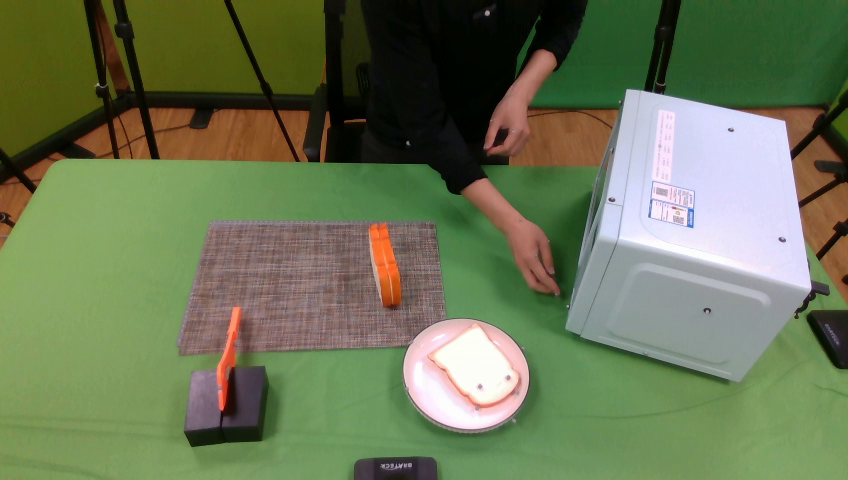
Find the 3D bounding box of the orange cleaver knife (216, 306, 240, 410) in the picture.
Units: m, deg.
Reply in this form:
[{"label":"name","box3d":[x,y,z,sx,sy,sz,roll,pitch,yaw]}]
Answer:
[{"label":"orange cleaver knife","box3d":[-0.307,0.180,0.957,0.012,0.077,0.210,-2,25,-8]}]

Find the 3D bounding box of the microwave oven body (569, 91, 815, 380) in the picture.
[{"label":"microwave oven body","box3d":[0.468,-0.022,1.082,0.325,0.261,0.440,15,46,11]}]

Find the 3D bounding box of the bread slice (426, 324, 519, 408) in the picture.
[{"label":"bread slice","box3d":[0.087,0.209,0.989,0.107,0.018,0.133,-32,57,-26]}]

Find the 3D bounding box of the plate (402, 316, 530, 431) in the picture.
[{"label":"plate","box3d":[0.066,0.217,0.982,0.208,0.039,0.206,2,46,-2]}]

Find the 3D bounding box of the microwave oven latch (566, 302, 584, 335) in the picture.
[{"label":"microwave oven latch","box3d":[0.268,0.126,1.059,0.030,0.029,0.079,16,46,12]}]

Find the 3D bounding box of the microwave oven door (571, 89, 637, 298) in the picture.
[{"label":"microwave oven door","box3d":[0.342,-0.091,1.133,0.039,0.245,0.354,15,47,10]}]
